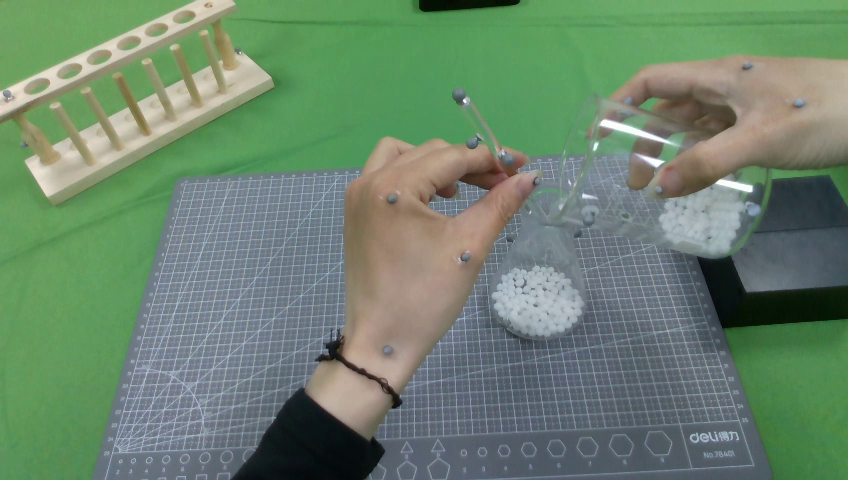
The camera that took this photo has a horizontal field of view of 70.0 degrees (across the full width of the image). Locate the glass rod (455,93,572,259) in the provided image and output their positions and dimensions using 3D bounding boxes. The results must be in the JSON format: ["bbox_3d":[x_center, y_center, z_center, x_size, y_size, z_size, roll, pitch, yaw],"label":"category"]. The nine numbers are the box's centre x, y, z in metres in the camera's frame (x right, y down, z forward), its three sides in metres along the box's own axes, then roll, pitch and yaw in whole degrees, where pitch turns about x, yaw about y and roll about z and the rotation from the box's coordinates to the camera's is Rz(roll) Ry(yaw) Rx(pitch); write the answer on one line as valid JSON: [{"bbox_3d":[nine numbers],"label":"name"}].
[{"bbox_3d":[0.060,-0.026,0.356,0.008,0.202,0.008,-12,62,24],"label":"glass rod"}]

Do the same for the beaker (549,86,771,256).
[{"bbox_3d":[0.129,-0.034,0.343,0.100,0.084,0.073,15,64,1],"label":"beaker"}]

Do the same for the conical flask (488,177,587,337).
[{"bbox_3d":[0.083,0.010,0.424,0.075,0.123,0.074,-2,54,3],"label":"conical flask"}]

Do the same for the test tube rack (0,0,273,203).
[{"bbox_3d":[-0.276,-0.144,0.587,0.242,0.086,0.066,-36,59,-20],"label":"test tube rack"}]
